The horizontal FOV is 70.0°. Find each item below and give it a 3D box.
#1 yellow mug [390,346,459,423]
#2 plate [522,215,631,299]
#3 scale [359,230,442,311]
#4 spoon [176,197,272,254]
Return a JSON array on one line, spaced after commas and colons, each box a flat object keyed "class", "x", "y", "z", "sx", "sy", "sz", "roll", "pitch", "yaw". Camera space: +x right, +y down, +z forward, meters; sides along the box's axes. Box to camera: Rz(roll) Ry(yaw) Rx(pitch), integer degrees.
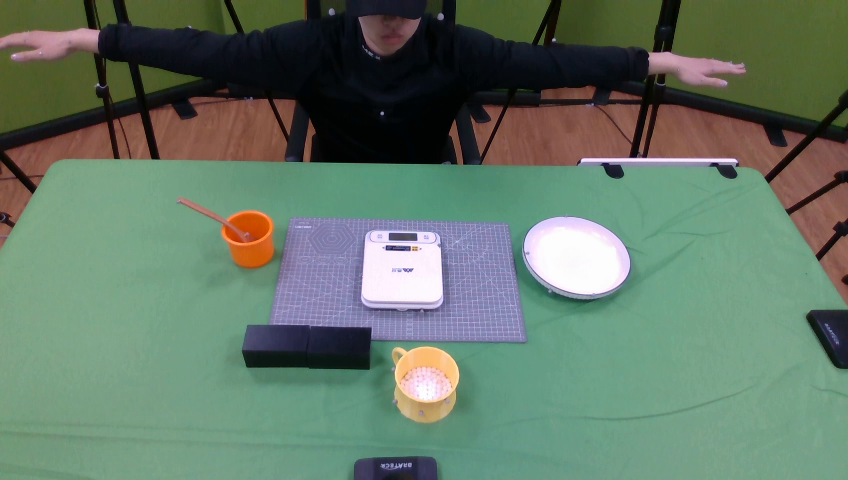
[{"class": "yellow mug", "x": -0.009, "y": 0.217, "z": 0.958, "sx": 0.100, "sy": 0.064, "sz": 0.130, "roll": -33, "pitch": 56, "yaw": -31}, {"class": "plate", "x": 0.292, "y": 0.035, "z": 1.175, "sx": 0.209, "sy": 0.038, "sz": 0.208, "roll": 2, "pitch": 46, "yaw": -2}, {"class": "scale", "x": -0.043, "y": 0.048, "z": 1.138, "sx": 0.149, "sy": 0.032, "sz": 0.199, "roll": 2, "pitch": 46, "yaw": -3}, {"class": "spoon", "x": -0.363, "y": -0.028, "z": 1.108, "sx": 0.021, "sy": 0.195, "sz": 0.041, "roll": -35, "pitch": 36, "yaw": 24}]
